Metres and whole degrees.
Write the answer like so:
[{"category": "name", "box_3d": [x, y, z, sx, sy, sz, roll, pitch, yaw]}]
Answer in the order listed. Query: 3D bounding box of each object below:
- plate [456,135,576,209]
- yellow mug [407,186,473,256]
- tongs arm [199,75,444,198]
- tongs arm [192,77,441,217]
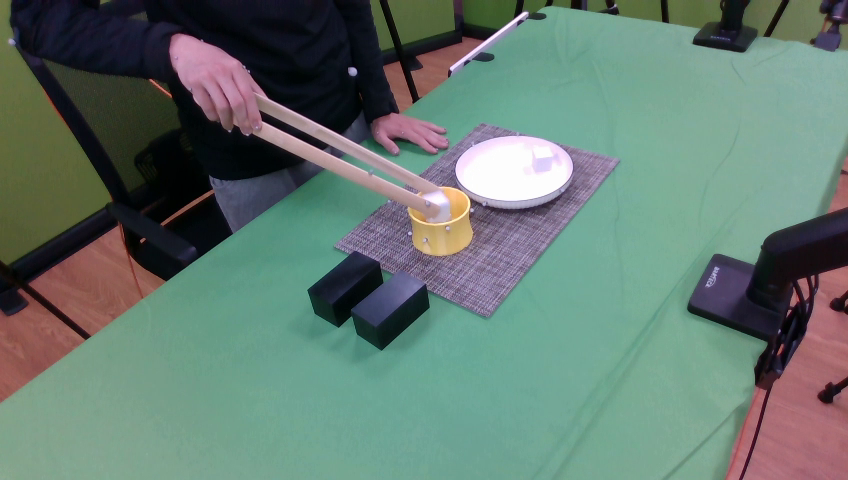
[{"category": "plate", "box_3d": [0.161, -0.116, 1.064, 0.207, 0.039, 0.206, -4, 40, 4]}, {"category": "yellow mug", "box_3d": [0.021, -0.041, 0.973, 0.100, 0.064, 0.129, -19, 41, -12]}, {"category": "tongs arm", "box_3d": [-0.146, -0.150, 0.904, 0.389, 0.027, 0.028, 24, 43, -12]}, {"category": "tongs arm", "box_3d": [-0.151, -0.131, 0.879, 0.386, 0.026, 0.050, 23, 40, -13]}]
